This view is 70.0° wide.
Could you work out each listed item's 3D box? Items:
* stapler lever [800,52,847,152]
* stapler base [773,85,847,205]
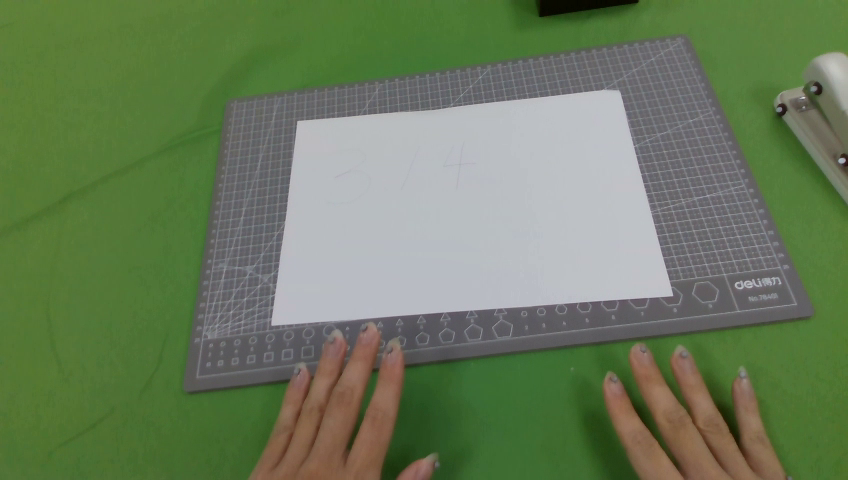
[{"bbox_3d":[0.327,-0.094,0.460,0.027,0.040,0.117,-16,59,2],"label":"stapler lever"},{"bbox_3d":[0.330,-0.082,0.483,0.041,0.024,0.129,-16,59,2],"label":"stapler base"}]
